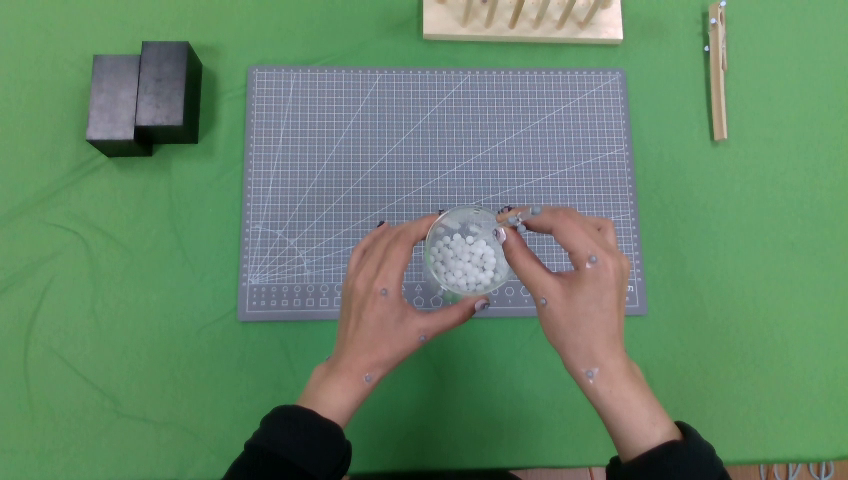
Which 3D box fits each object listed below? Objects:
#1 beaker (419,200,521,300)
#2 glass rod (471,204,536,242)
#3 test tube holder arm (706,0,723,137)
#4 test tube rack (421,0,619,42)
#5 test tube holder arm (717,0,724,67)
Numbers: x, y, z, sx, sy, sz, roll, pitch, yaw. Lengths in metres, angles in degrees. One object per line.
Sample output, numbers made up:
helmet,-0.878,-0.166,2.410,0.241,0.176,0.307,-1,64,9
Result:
beaker,0.036,0.014,0.527,0.084,0.100,0.074,18,80,0
glass rod,0.057,-0.010,0.473,0.008,0.200,0.008,1,84,-6
test tube holder arm,0.352,-0.211,0.735,0.013,0.015,0.177,12,76,-30
test tube rack,0.119,-0.287,0.708,0.242,0.085,0.066,1,78,-3
test tube holder arm,0.361,-0.253,0.747,0.010,0.015,0.087,12,76,-30
